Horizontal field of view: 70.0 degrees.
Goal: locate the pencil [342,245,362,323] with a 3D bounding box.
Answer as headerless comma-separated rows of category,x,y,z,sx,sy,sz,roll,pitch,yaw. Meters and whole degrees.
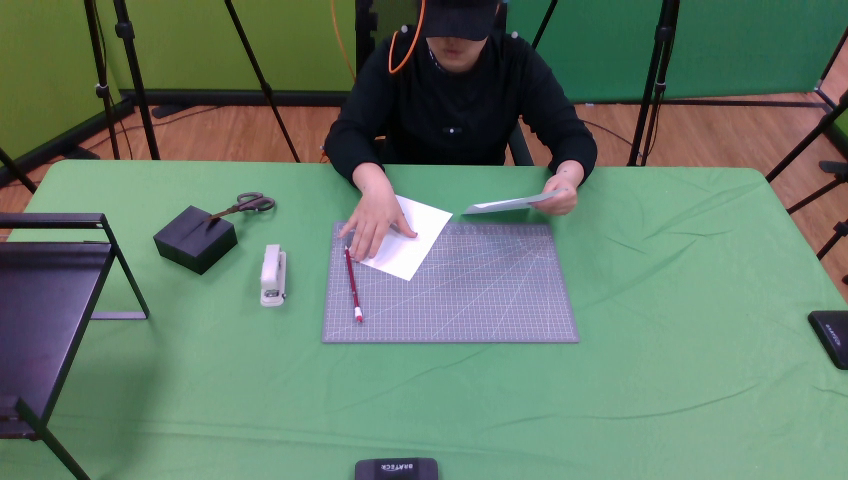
pencil,-0.136,0.076,1.118,0.012,0.012,0.192,-8,46,-12

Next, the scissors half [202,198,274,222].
scissors half,-0.364,-0.056,1.192,0.040,0.013,0.175,36,32,24

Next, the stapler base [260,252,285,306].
stapler base,-0.279,0.064,1.113,0.041,0.024,0.129,-1,44,-9

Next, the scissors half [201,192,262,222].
scissors half,-0.381,-0.066,1.198,0.040,0.013,0.175,22,27,11

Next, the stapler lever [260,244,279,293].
stapler lever,-0.279,0.045,1.096,0.027,0.040,0.117,-1,44,-9
